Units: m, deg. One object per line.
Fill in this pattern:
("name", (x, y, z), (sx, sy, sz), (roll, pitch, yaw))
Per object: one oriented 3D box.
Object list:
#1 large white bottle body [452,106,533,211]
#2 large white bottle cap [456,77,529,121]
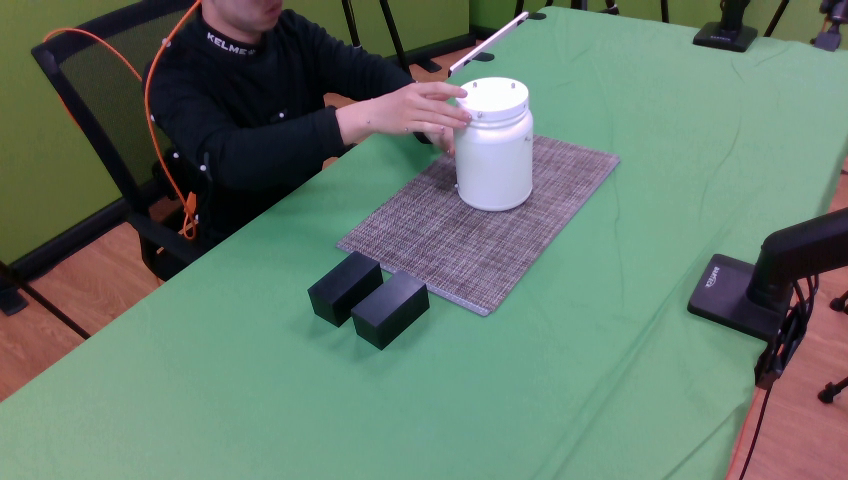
("large white bottle body", (0.115, -0.155, 1.001), (0.130, 0.185, 0.130), (-4, 41, 4))
("large white bottle cap", (0.106, -0.222, 0.943), (0.115, 0.018, 0.114), (-3, 40, 3))
